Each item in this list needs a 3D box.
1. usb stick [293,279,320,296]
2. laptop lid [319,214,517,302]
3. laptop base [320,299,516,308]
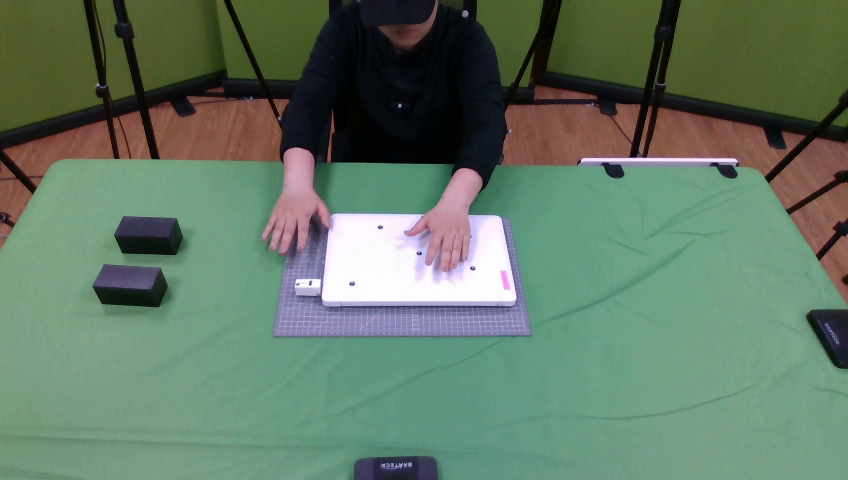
[{"bbox_3d":[-0.202,0.086,1.083,0.059,0.027,0.021,3,46,-5],"label":"usb stick"},{"bbox_3d":[-0.012,0.029,1.154,0.357,0.013,0.240,2,43,-3],"label":"laptop lid"},{"bbox_3d":[-0.013,0.039,1.160,0.355,0.023,0.234,0,43,-4],"label":"laptop base"}]
